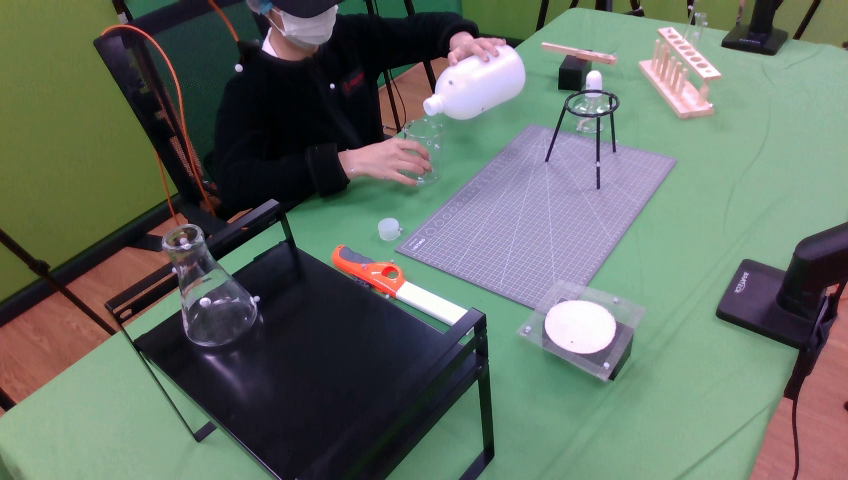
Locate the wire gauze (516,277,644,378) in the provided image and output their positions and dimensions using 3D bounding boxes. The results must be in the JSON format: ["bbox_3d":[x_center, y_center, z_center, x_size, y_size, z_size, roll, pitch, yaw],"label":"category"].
[{"bbox_3d":[0.197,0.103,0.765,0.124,0.011,0.122,23,50,31],"label":"wire gauze"}]

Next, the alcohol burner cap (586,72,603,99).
[{"bbox_3d":[0.325,-0.297,1.154,0.034,0.048,0.033,-8,35,6],"label":"alcohol burner cap"}]

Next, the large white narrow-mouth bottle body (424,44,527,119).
[{"bbox_3d":[0.086,-0.278,1.104,0.195,0.102,0.101,-30,45,-20],"label":"large white narrow-mouth bottle body"}]

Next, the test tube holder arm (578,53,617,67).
[{"bbox_3d":[0.376,-0.393,1.314,0.087,0.015,0.010,26,51,32],"label":"test tube holder arm"}]

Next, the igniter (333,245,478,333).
[{"bbox_3d":[-0.038,0.068,0.905,0.274,0.025,0.057,24,60,32],"label":"igniter"}]

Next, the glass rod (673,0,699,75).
[{"bbox_3d":[0.541,-0.427,1.246,0.008,0.200,0.008,0,48,1],"label":"glass rod"}]

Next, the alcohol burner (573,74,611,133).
[{"bbox_3d":[0.330,-0.270,1.176,0.078,0.119,0.077,-4,43,4],"label":"alcohol burner"}]

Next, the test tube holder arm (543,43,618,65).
[{"bbox_3d":[0.345,-0.413,1.340,0.177,0.015,0.013,25,50,31],"label":"test tube holder arm"}]

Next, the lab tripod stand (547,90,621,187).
[{"bbox_3d":[0.289,-0.184,1.062,0.148,0.132,0.147,-6,41,6],"label":"lab tripod stand"}]

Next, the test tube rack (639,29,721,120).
[{"bbox_3d":[0.527,-0.351,1.262,0.067,0.085,0.241,-8,40,1],"label":"test tube rack"}]

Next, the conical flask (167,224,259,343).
[{"bbox_3d":[-0.220,0.041,0.613,0.075,0.122,0.075,-5,40,4],"label":"conical flask"}]

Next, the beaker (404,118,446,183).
[{"bbox_3d":[0.003,-0.163,1.109,0.073,0.100,0.084,21,41,24],"label":"beaker"}]

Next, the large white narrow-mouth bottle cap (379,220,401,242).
[{"bbox_3d":[-0.057,-0.015,1.011,0.038,0.024,0.037,-4,40,4],"label":"large white narrow-mouth bottle cap"}]

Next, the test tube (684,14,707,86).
[{"bbox_3d":[0.541,-0.379,1.216,0.017,0.151,0.017,-2,44,2],"label":"test tube"}]
